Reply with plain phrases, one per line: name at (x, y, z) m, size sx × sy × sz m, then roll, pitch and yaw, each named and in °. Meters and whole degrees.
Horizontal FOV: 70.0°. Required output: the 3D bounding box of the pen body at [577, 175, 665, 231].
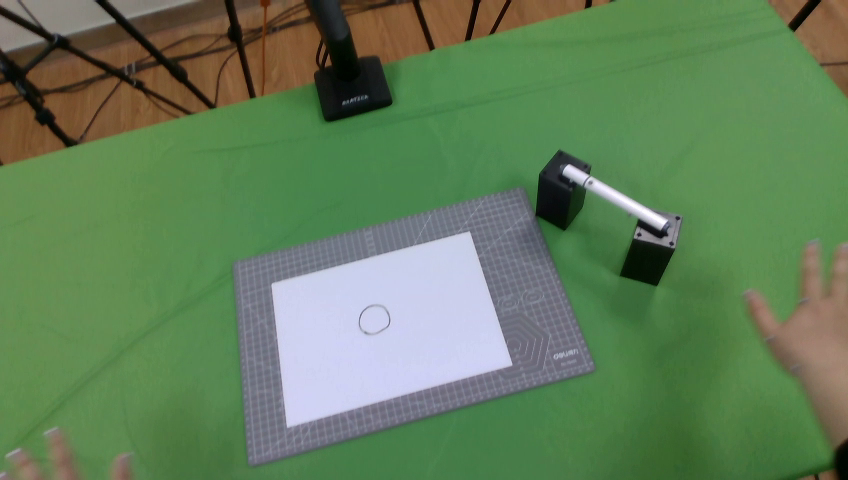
pen body at (0.237, -0.053, 0.766) m, size 0.143 × 0.017 × 0.017 m, roll 35°, pitch 70°, yaw 23°

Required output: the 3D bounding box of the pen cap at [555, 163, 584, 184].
pen cap at (0.190, -0.087, 0.791) m, size 0.038 × 0.017 × 0.017 m, roll 33°, pitch 69°, yaw 24°
